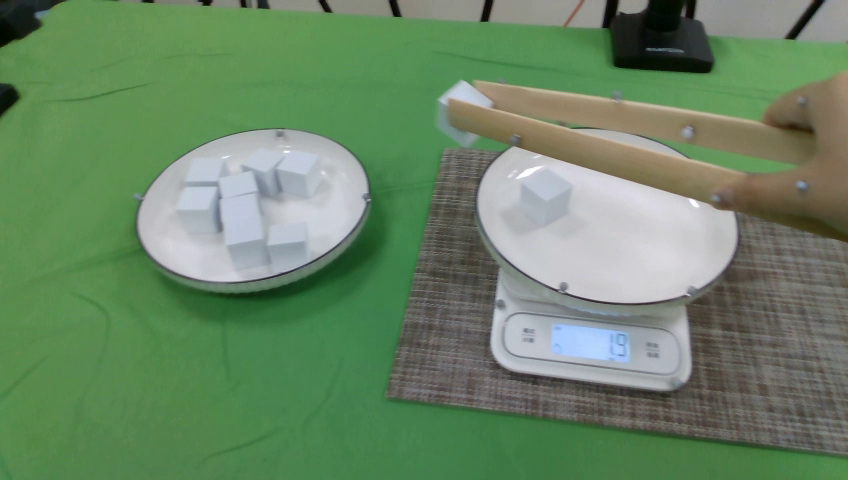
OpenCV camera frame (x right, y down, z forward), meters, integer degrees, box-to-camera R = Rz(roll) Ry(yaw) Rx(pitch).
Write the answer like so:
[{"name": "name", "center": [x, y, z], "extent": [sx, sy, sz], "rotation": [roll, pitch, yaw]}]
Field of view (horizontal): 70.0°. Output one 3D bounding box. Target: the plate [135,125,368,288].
[{"name": "plate", "center": [-0.155, -0.032, 0.566], "extent": [0.209, 0.038, 0.207], "rotation": [0, 47, 0]}]

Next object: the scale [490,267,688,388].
[{"name": "scale", "center": [0.137, 0.024, 0.508], "extent": [0.148, 0.032, 0.199], "rotation": [6, 48, 7]}]

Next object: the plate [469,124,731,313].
[{"name": "plate", "center": [0.140, -0.019, 0.504], "extent": [0.208, 0.039, 0.205], "rotation": [0, 47, 0]}]

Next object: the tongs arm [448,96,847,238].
[{"name": "tongs arm", "center": [0.164, -0.041, 0.352], "extent": [0.384, 0.028, 0.028], "rotation": [23, 47, 36]}]

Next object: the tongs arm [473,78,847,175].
[{"name": "tongs arm", "center": [0.179, -0.054, 0.364], "extent": [0.381, 0.027, 0.050], "rotation": [19, 48, 33]}]
